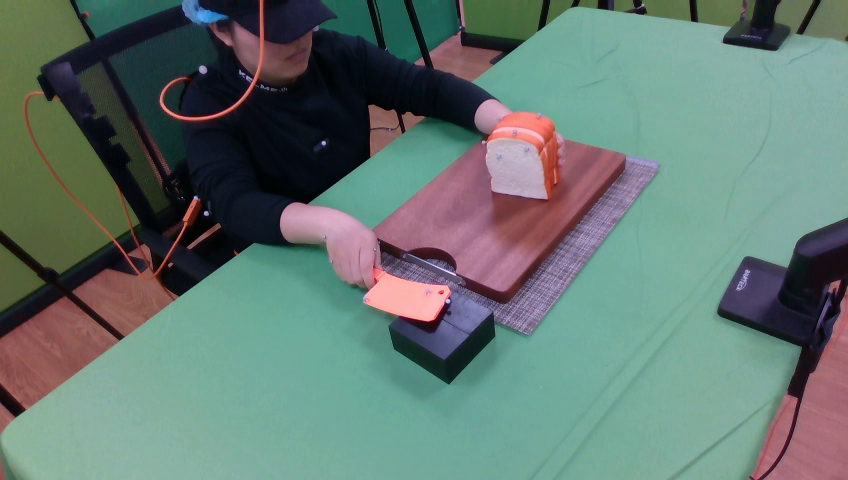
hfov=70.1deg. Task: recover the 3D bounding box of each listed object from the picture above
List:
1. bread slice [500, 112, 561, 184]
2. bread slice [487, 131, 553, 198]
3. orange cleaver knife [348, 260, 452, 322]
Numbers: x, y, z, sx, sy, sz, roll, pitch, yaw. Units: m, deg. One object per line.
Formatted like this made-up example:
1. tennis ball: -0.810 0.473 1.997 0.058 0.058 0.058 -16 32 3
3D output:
1. bread slice: 0.175 -0.151 1.005 0.106 0.135 0.018 13 50 21
2. bread slice: 0.149 -0.120 0.974 0.104 0.132 0.019 9 53 25
3. orange cleaver knife: -0.049 0.070 0.862 0.209 0.012 0.077 15 46 41
